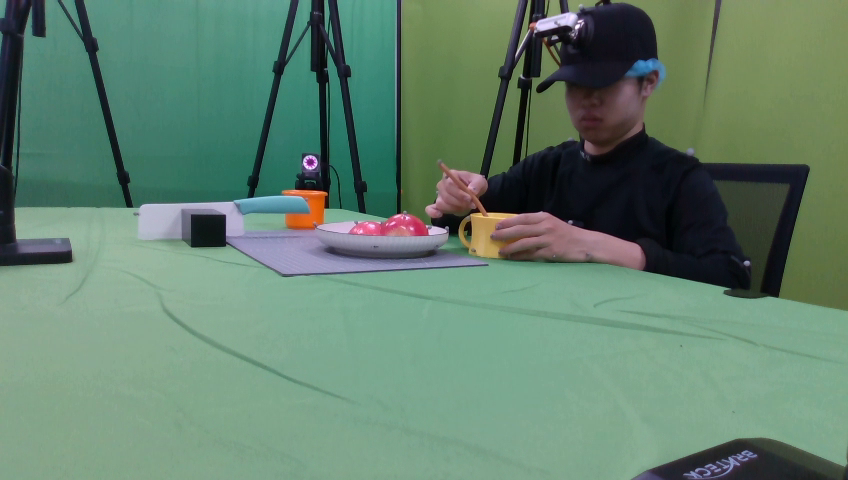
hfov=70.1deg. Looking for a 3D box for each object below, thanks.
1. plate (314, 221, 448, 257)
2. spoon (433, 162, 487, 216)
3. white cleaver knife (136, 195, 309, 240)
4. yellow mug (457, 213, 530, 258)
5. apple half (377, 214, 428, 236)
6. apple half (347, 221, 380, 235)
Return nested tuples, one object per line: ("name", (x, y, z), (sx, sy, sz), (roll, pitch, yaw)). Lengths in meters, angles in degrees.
("plate", (-0.067, -0.002, 0.948), (0.209, 0.038, 0.209), (3, 7, 0))
("spoon", (0.083, -0.055, 0.981), (0.021, 0.194, 0.041), (-40, 3, 2))
("white cleaver knife", (-0.337, -0.039, 1.037), (0.288, 0.066, 0.021), (-6, 15, -29))
("yellow mug", (0.109, -0.010, 0.992), (0.130, 0.064, 0.100), (6, 6, 36))
("apple half", (-0.034, -0.013, 0.924), (0.080, 0.053, 0.075), (5, 10, 16))
("apple half", (-0.089, -0.014, 0.985), (0.081, 0.033, 0.081), (5, 5, 0))
